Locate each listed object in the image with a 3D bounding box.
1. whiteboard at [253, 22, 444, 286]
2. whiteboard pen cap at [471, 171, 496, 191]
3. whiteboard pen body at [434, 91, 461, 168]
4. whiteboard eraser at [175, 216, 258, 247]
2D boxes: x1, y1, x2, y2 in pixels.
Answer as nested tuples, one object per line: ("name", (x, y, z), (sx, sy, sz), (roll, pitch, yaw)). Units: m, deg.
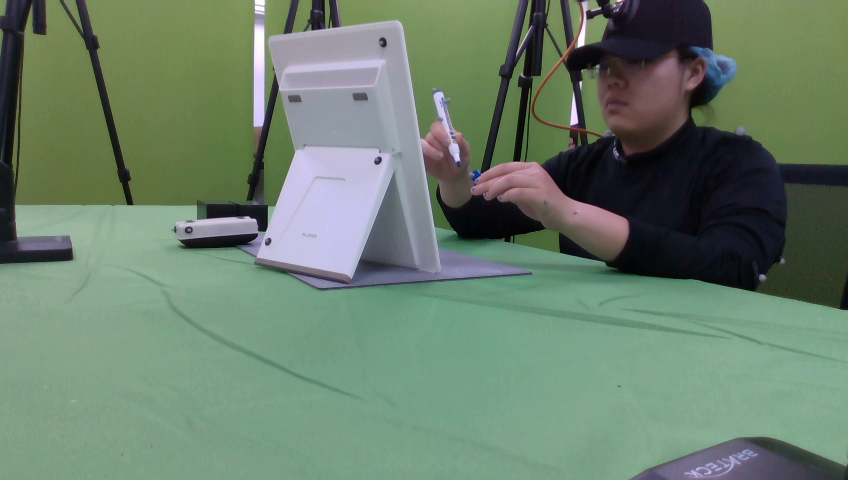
("whiteboard", (-0.125, -0.081, 0.715), (0.216, 0.305, 0.144), (9, 29, 36))
("whiteboard pen cap", (0.083, -0.081, 0.844), (0.033, 0.018, 0.018), (33, 4, -9))
("whiteboard pen body", (0.037, -0.164, 0.896), (0.017, 0.140, 0.017), (-11, -26, -5))
("whiteboard eraser", (-0.313, -0.012, 0.915), (0.113, 0.042, 0.055), (-5, 12, -30))
